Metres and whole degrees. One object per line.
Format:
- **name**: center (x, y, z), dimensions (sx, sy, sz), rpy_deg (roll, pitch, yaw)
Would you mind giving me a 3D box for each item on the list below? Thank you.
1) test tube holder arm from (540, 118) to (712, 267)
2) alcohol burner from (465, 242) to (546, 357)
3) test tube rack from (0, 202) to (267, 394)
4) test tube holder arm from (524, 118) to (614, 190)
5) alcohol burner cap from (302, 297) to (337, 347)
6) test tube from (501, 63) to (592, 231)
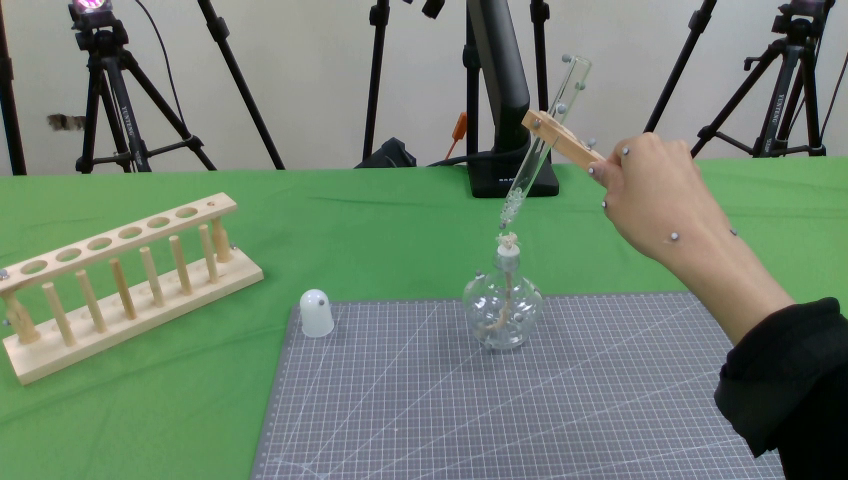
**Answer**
- **test tube holder arm**: center (0.141, -0.041, 0.449), dimensions (0.013, 0.015, 0.176), rpy_deg (-6, 42, -37)
- **alcohol burner**: center (0.077, 0.051, 0.567), dimensions (0.078, 0.120, 0.077), rpy_deg (0, 35, 0)
- **test tube rack**: center (-0.290, 0.049, 0.612), dimensions (0.243, 0.086, 0.066), rpy_deg (-26, 40, -33)
- **test tube holder arm**: center (0.112, -0.068, 0.470), dimensions (0.010, 0.015, 0.087), rpy_deg (-13, 47, -44)
- **alcohol burner cap**: center (-0.104, 0.078, 0.596), dimensions (0.034, 0.048, 0.033), rpy_deg (0, 34, 0)
- **test tube**: center (0.097, -0.071, 0.494), dimensions (0.017, 0.151, 0.017), rpy_deg (16, 30, -9)
